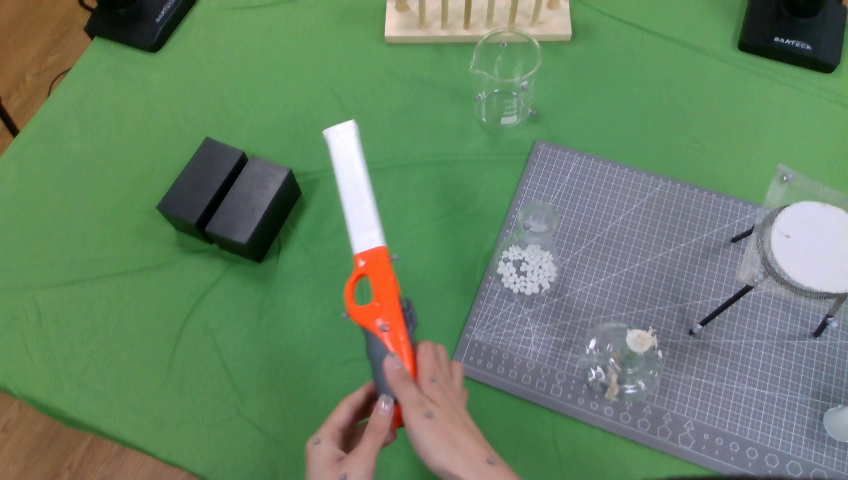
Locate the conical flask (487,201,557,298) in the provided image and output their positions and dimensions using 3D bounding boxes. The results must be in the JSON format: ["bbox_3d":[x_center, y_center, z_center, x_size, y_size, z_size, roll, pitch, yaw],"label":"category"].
[{"bbox_3d":[0.103,0.005,0.606,0.075,0.123,0.074,-1,64,2],"label":"conical flask"}]

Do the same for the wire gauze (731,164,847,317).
[{"bbox_3d":[0.340,0.004,0.517,0.121,0.011,0.124,24,69,11],"label":"wire gauze"}]

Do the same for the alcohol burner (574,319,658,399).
[{"bbox_3d":[0.182,0.106,0.562,0.078,0.120,0.077,0,64,0],"label":"alcohol burner"}]

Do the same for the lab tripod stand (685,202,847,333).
[{"bbox_3d":[0.334,0.034,0.578,0.148,0.132,0.147,0,64,0],"label":"lab tripod stand"}]

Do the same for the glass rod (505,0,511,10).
[{"bbox_3d":[0.116,-0.349,0.719,0.008,0.201,0.008,1,65,-2],"label":"glass rod"}]

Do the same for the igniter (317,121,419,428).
[{"bbox_3d":[-0.050,0.022,0.528,0.057,0.025,0.274,-18,73,8],"label":"igniter"}]

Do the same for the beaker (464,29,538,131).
[{"bbox_3d":[0.086,-0.181,0.708,0.084,0.101,0.073,-20,65,-7],"label":"beaker"}]

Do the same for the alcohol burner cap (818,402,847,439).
[{"bbox_3d":[0.397,0.166,0.566,0.034,0.048,0.033,-1,66,3],"label":"alcohol burner cap"}]

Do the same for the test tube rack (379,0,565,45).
[{"bbox_3d":[0.062,-0.306,0.774,0.242,0.086,0.066,0,65,2],"label":"test tube rack"}]
